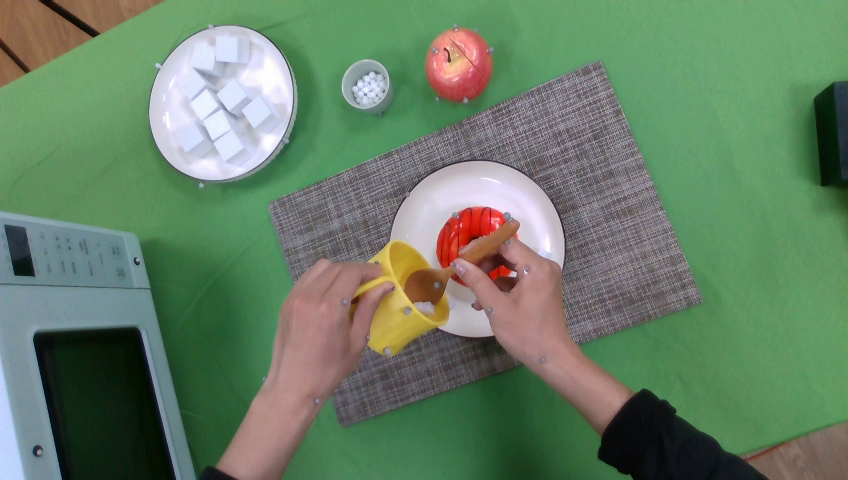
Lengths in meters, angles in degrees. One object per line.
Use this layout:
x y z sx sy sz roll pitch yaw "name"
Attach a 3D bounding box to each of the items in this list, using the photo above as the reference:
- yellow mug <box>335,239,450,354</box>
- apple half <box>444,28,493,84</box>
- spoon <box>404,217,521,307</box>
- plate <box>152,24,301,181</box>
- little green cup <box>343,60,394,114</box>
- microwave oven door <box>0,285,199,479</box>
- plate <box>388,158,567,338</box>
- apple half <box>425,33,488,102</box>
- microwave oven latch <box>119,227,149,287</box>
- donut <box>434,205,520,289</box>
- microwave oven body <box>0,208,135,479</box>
-0.036 0.055 0.595 0.064 0.132 0.099 -34 70 21 "yellow mug"
0.060 -0.222 0.713 0.033 0.081 0.081 -42 78 10 "apple half"
0.031 0.024 0.567 0.021 0.194 0.041 -35 88 -34 "spoon"
-0.256 -0.177 0.798 0.207 0.039 0.207 -1 85 12 "plate"
-0.067 -0.188 0.757 0.061 0.039 0.061 -1 85 13 "little green cup"
-0.347 0.223 0.663 0.039 0.245 0.354 -19 81 10 "microwave oven door"
0.061 0.010 0.710 0.208 0.038 0.208 -1 85 12 "plate"
0.032 -0.196 0.719 0.053 0.075 0.080 -42 81 11 "apple half"
-0.386 0.024 0.791 0.030 0.029 0.079 -17 83 10 "microwave oven latch"
0.061 0.008 0.698 0.099 0.048 0.099 -1 88 13 "donut"
-0.495 0.228 0.700 0.326 0.261 0.440 -18 82 10 "microwave oven body"
